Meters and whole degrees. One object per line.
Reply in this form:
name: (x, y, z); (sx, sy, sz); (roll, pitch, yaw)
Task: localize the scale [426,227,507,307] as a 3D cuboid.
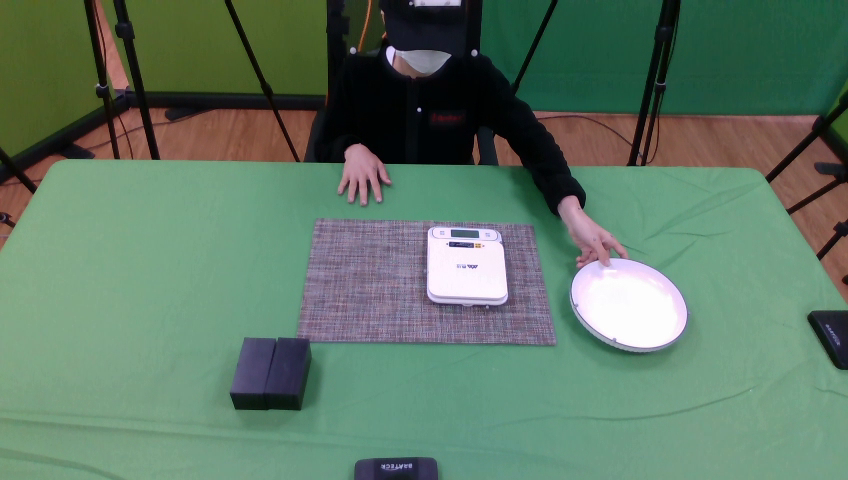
scale: (0.078, 0.043, 1.152); (0.149, 0.032, 0.199); (3, 45, -2)

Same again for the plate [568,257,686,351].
plate: (0.364, 0.118, 1.102); (0.208, 0.039, 0.206); (2, 46, -2)
